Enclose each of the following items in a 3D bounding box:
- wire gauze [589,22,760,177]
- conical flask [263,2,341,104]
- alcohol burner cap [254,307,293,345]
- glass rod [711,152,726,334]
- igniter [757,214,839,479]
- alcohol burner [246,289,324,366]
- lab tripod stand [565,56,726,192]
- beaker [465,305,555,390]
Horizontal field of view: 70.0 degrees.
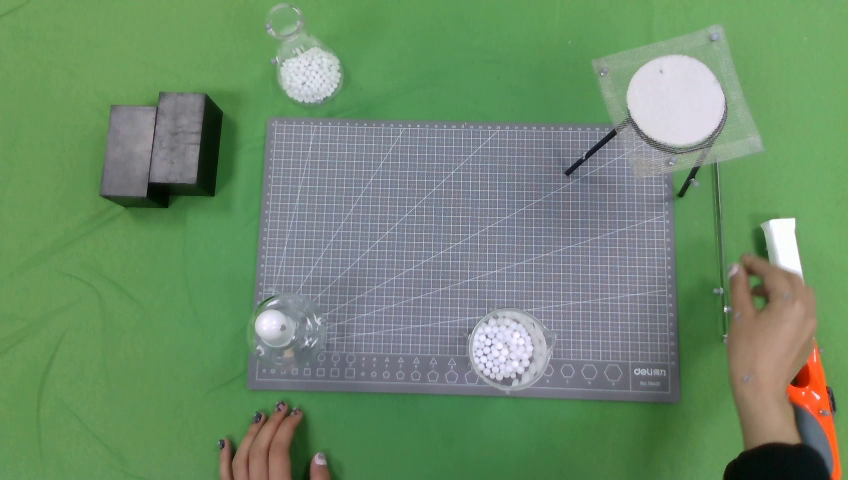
[{"bbox_3d":[0.225,-0.125,0.542,0.125,0.011,0.121,-15,82,-1],"label":"wire gauze"},{"bbox_3d":[-0.133,-0.200,0.636,0.075,0.122,0.075,0,80,2],"label":"conical flask"},{"bbox_3d":[-0.139,0.076,0.556,0.034,0.048,0.033,2,73,-5],"label":"alcohol burner cap"},{"bbox_3d":[0.318,0.000,0.652,0.008,0.008,0.199,2,80,1],"label":"glass rod"},{"bbox_3d":[0.383,0.110,0.622,0.057,0.025,0.275,-3,81,-10],"label":"igniter"},{"bbox_3d":[-0.139,0.085,0.591,0.078,0.119,0.077,0,79,0],"label":"alcohol burner"},{"bbox_3d":[0.224,-0.110,0.607,0.148,0.132,0.148,0,82,0],"label":"lab tripod stand"},{"bbox_3d":[0.079,0.103,0.591,0.084,0.100,0.073,-17,80,-2],"label":"beaker"}]
